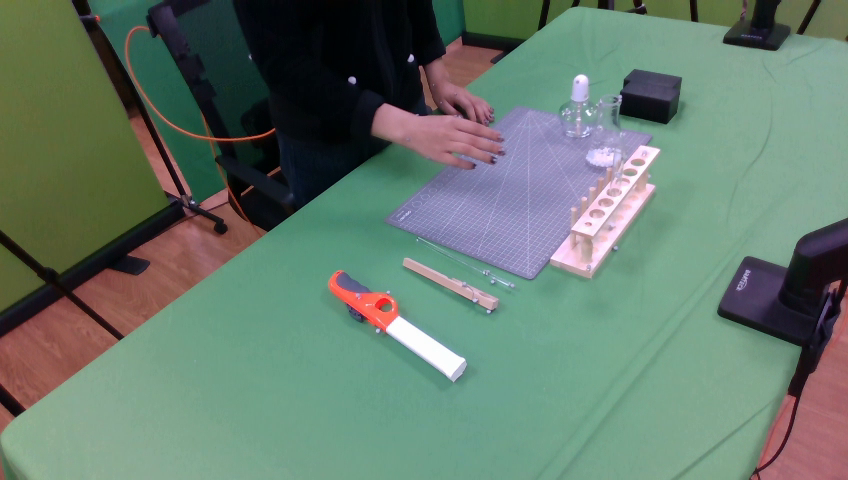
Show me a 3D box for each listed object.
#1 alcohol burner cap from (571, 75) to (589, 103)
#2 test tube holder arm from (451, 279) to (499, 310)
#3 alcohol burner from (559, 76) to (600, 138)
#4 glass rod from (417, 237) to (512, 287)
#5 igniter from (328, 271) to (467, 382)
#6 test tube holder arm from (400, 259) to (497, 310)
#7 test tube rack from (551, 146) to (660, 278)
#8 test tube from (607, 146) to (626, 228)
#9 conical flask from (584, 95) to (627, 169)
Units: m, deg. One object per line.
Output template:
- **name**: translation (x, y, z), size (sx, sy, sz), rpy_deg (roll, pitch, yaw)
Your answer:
- **alcohol burner cap**: translation (0.294, -0.284, 1.132), size (0.034, 0.048, 0.033), rpy_deg (-5, 46, 5)
- **test tube holder arm**: translation (0.071, 0.079, 0.882), size (0.087, 0.015, 0.010), rpy_deg (23, 13, 34)
- **alcohol burner**: translation (0.298, -0.258, 1.156), size (0.078, 0.119, 0.077), rpy_deg (-4, 39, 4)
- **glass rod**: translation (0.058, 0.032, 0.944), size (0.198, 0.008, 0.008), rpy_deg (26, 52, 38)
- **igniter**: translation (-0.049, 0.114, 0.854), size (0.274, 0.025, 0.057), rpy_deg (29, 63, 37)
- **test tube holder arm**: translation (0.033, 0.064, 0.902), size (0.177, 0.015, 0.013), rpy_deg (23, 13, 32)
- **test tube rack**: translation (0.286, -0.053, 0.943), size (0.066, 0.085, 0.243), rpy_deg (21, 49, 32)
- **test tube**: translation (0.283, -0.074, 0.892), size (0.017, 0.151, 0.017), rpy_deg (-5, 44, 6)
- **conical flask**: translation (0.324, -0.192, 1.066), size (0.075, 0.122, 0.075), rpy_deg (-6, 40, 5)
